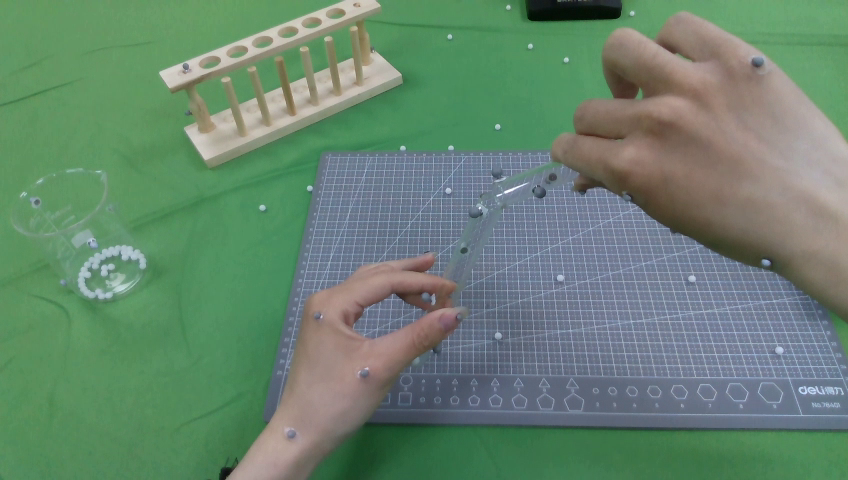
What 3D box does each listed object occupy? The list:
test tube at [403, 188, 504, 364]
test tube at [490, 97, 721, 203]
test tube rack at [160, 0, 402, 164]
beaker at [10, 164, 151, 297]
[{"bbox_3d":[0.015,0.029,0.384,0.017,0.151,0.017,15,37,-11],"label":"test tube"},{"bbox_3d":[0.108,-0.053,0.350,0.150,0.017,0.017,-21,53,-11],"label":"test tube"},{"bbox_3d":[-0.146,-0.181,0.662,0.242,0.086,0.066,-29,55,-19],"label":"test tube rack"},{"bbox_3d":[-0.286,-0.006,0.521,0.073,0.101,0.083,22,55,19],"label":"beaker"}]
